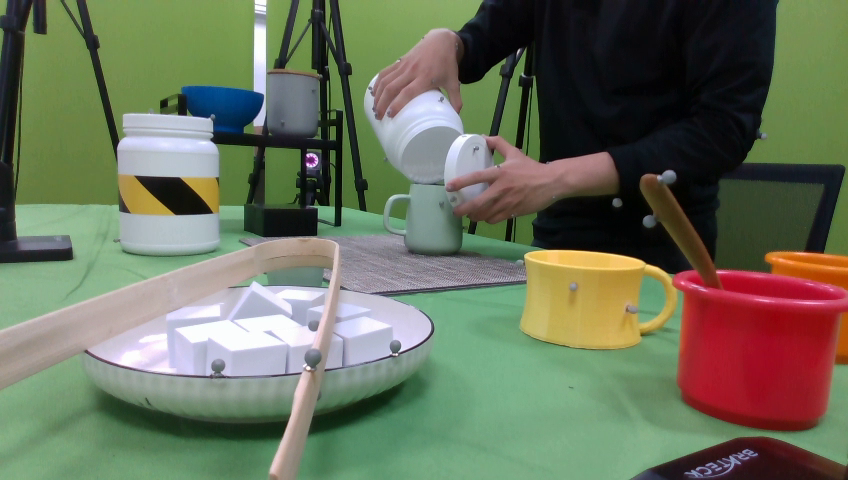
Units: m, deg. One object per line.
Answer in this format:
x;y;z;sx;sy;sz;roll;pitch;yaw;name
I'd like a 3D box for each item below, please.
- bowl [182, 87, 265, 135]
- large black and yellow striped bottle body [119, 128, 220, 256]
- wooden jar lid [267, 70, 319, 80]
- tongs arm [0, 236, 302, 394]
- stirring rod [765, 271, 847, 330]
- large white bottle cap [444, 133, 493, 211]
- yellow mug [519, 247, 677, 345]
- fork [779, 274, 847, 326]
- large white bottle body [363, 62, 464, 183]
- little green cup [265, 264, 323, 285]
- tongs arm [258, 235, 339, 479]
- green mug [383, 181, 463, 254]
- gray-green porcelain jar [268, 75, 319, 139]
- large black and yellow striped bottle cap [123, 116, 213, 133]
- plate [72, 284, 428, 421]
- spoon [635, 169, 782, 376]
-0.383;-0.243;1.158;0.151;0.077;0.151;2;7;0;bowl
-0.355;-0.076;0.850;0.131;0.184;0.130;2;8;0;large black and yellow striped bottle body
-0.275;-0.339;1.271;0.108;0.020;0.108;5;6;0;wooden jar lid
-0.157;0.038;0.347;0.028;0.028;0.388;-3;8;11;tongs arm
0.352;0.020;0.481;0.176;0.006;0.014;-40;-8;17;stirring rod
0.067;-0.099;0.884;0.018;0.114;0.115;8;10;33;large white bottle cap
0.148;0.045;0.513;0.131;0.064;0.100;3;7;0;yellow mug
0.332;0.019;0.443;0.028;0.018;0.207;-3;-35;-16;fork
-0.015;-0.188;0.975;0.131;0.130;0.184;-1;42;-25;large white bottle body
-0.134;0.034;0.628;0.061;0.038;0.061;3;6;0;little green cup
-0.074;0.040;0.345;0.051;0.026;0.384;-1;10;-3;tongs arm
-0.001;-0.035;0.921;0.126;0.105;0.092;0;8;-16;green mug
-0.277;-0.279;1.280;0.106;0.126;0.106;2;8;0;gray-green porcelain jar
-0.353;-0.159;0.838;0.115;0.019;0.115;2;6;0;large black and yellow striped bottle cap
-0.102;0.066;0.381;0.208;0.039;0.207;3;7;0;plate
0.161;0.026;0.346;0.041;0.194;0.021;10;56;53;spoon
